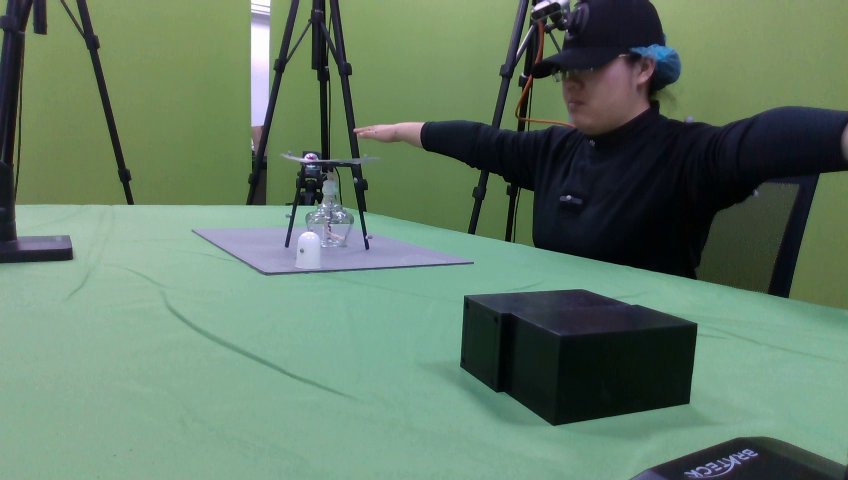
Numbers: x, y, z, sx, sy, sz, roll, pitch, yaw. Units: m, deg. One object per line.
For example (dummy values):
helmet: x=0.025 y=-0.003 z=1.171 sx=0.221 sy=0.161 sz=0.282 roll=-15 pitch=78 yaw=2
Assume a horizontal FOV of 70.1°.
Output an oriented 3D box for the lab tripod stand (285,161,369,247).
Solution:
lab tripod stand: x=-0.151 y=-0.058 z=0.947 sx=0.148 sy=0.131 sz=0.148 roll=1 pitch=6 yaw=0

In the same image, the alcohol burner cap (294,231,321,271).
alcohol burner cap: x=-0.144 y=0.013 z=0.748 sx=0.034 sy=0.048 sz=0.034 roll=3 pitch=6 yaw=0

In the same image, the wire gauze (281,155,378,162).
wire gauze: x=-0.147 y=-0.124 z=0.936 sx=0.122 sy=0.011 sz=0.124 roll=-2 pitch=7 yaw=-32

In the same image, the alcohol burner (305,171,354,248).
alcohol burner: x=-0.148 y=-0.048 z=0.949 sx=0.078 sy=0.119 sz=0.078 roll=1 pitch=6 yaw=0
